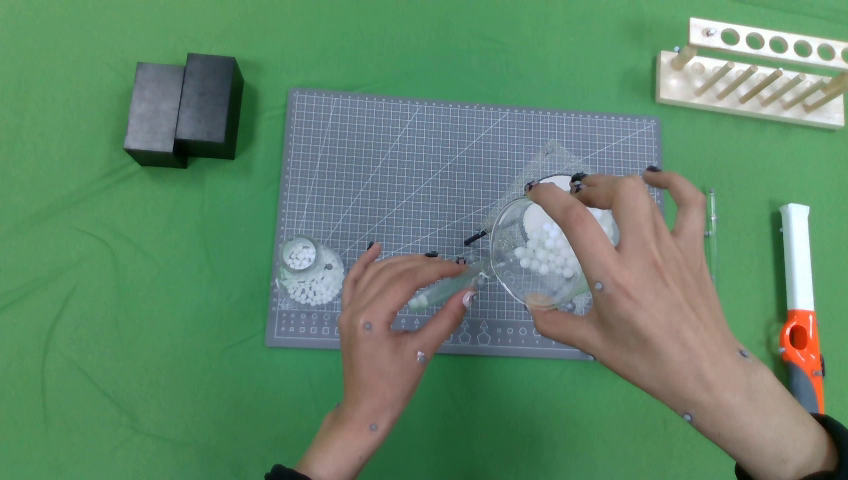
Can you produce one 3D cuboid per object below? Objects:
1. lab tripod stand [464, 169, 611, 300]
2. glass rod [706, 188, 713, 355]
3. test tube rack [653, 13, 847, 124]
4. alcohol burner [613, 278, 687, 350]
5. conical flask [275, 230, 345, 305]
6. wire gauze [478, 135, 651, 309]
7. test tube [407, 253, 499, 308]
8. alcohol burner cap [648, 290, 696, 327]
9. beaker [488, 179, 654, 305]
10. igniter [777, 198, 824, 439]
[{"bbox_3d":[0.123,-0.009,0.633,0.148,0.132,0.147,1,79,-4],"label":"lab tripod stand"},{"bbox_3d":[0.336,0.035,0.712,0.008,0.008,0.199,5,80,-5],"label":"glass rod"},{"bbox_3d":[0.412,-0.203,0.731,0.243,0.085,0.066,7,77,-4],"label":"test tube rack"},{"bbox_3d":[0.246,0.075,0.637,0.078,0.119,0.077,1,77,-3],"label":"alcohol burner"},{"bbox_3d":[-0.119,0.023,0.607,0.075,0.122,0.075,1,77,-5],"label":"conical flask"},{"bbox_3d":[0.132,-0.021,0.567,0.125,0.011,0.121,40,78,4],"label":"wire gauze"},{"bbox_3d":[0.018,0.036,0.486,0.017,0.150,0.017,7,72,-21],"label":"test tube"},{"bbox_3d":[0.249,0.066,0.603,0.034,0.048,0.033,3,71,-8],"label":"alcohol burner cap"},{"bbox_3d":[0.103,-0.002,0.418,0.100,0.084,0.074,-13,85,-41],"label":"beaker"},{"bbox_3d":[0.433,0.087,0.701,0.057,0.025,0.275,8,77,-15],"label":"igniter"}]
